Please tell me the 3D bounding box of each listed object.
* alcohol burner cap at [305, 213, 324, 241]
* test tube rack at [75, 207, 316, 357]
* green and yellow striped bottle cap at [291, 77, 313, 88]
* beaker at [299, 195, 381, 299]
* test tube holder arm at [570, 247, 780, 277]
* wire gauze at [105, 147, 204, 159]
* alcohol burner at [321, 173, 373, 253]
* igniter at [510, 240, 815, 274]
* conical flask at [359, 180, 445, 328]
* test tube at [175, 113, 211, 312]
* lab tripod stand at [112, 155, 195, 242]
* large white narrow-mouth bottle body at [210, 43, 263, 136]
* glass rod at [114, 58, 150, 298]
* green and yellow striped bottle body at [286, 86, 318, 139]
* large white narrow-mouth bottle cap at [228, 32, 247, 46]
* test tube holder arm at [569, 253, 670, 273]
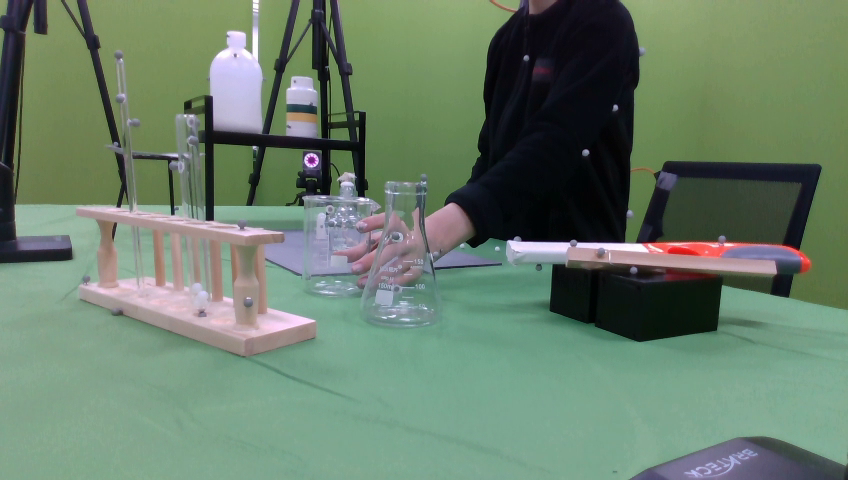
[{"bbox_3d":[-0.185,-0.023,1.027,0.034,0.048,0.034,3,7,0],"label":"alcohol burner cap"},{"bbox_3d":[-0.196,0.023,0.500,0.241,0.085,0.067,8,9,36],"label":"test tube rack"},{"bbox_3d":[-0.249,-0.321,1.237,0.045,0.020,0.045,3,6,0],"label":"green and yellow striped bottle cap"},{"bbox_3d":[-0.087,0.006,0.626,0.084,0.100,0.074,1,8,-17],"label":"beaker"},{"bbox_3d":[0.217,0.019,0.525,0.178,0.015,0.013,3,-23,3],"label":"test tube holder arm"},{"bbox_3d":[-0.408,-0.131,0.929,0.125,0.011,0.121,2,6,-11],"label":"wire gauze"},{"bbox_3d":[-0.115,-0.041,0.905,0.078,0.119,0.078,0,6,0],"label":"alcohol burner"},{"bbox_3d":[0.220,0.015,0.565,0.277,0.025,0.057,2,16,-1],"label":"igniter"},{"bbox_3d":[-0.017,0.010,0.522,0.075,0.122,0.075,2,7,0],"label":"conical flask"},{"bbox_3d":[-0.174,-0.020,0.458,0.017,0.150,0.017,-2,5,1],"label":"test tube"},{"bbox_3d":[-0.405,-0.064,0.931,0.148,0.131,0.148,1,6,0],"label":"lab tripod stand"},{"bbox_3d":[-0.369,-0.305,1.194,0.102,0.194,0.102,3,8,0],"label":"large white narrow-mouth bottle body"},{"bbox_3d":[-0.237,-0.044,0.492,0.008,0.199,0.008,1,15,0],"label":"glass rod"},{"bbox_3d":[-0.251,-0.270,1.245,0.063,0.119,0.063,2,7,0],"label":"green and yellow striped bottle body"},{"bbox_3d":[-0.364,-0.391,1.181,0.038,0.024,0.037,3,8,0],"label":"large white narrow-mouth bottle cap"},{"bbox_3d":[0.172,0.019,0.532,0.088,0.015,0.010,3,-23,3],"label":"test tube holder arm"}]
